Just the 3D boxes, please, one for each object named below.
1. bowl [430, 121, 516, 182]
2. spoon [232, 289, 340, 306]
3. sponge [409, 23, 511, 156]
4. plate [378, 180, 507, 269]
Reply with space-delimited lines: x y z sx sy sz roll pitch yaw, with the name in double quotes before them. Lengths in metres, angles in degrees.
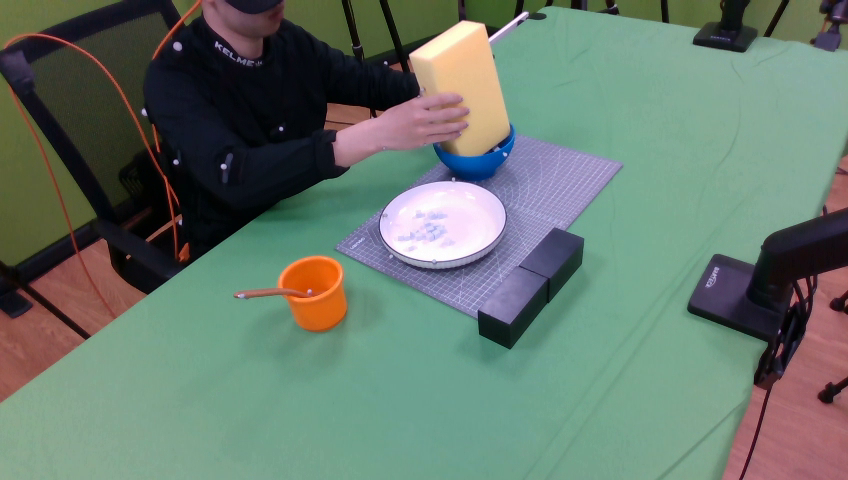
"bowl" 0.091 -0.159 1.093 0.151 0.077 0.150 -4 40 4
"spoon" -0.181 0.074 0.811 0.041 0.195 0.021 16 90 31
"sponge" 0.066 -0.243 1.028 0.118 0.208 0.060 -36 39 -17
"plate" 0.031 -0.022 0.974 0.209 0.038 0.208 -4 40 4
